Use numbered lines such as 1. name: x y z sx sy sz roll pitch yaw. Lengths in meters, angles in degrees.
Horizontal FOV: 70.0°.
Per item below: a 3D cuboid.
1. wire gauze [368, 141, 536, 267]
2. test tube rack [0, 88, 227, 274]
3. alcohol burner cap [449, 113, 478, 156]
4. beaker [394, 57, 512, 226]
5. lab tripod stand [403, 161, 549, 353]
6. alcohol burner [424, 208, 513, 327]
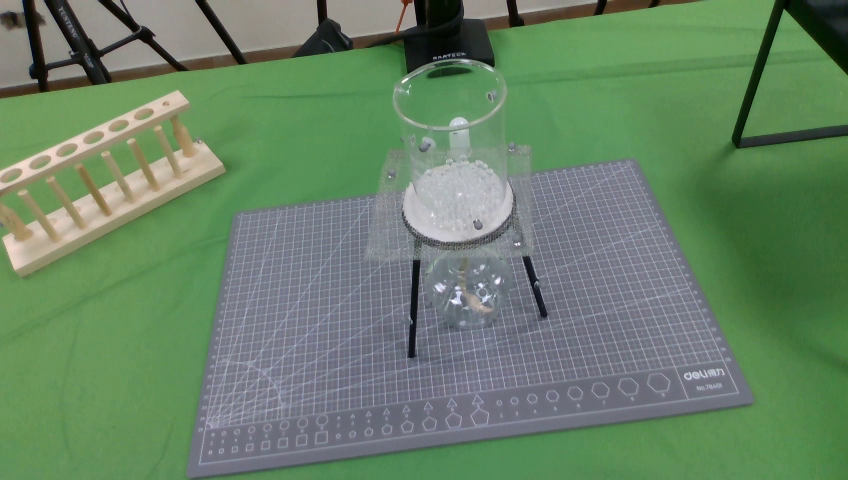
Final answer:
1. wire gauze: 0.023 -0.033 0.464 0.121 0.011 0.124 -1 53 9
2. test tube rack: -0.355 -0.070 0.674 0.242 0.086 0.066 -33 52 -20
3. alcohol burner cap: 0.045 -0.124 0.698 0.034 0.048 0.033 -4 49 5
4. beaker: 0.021 -0.066 0.428 0.083 0.101 0.074 23 58 26
5. lab tripod stand: 0.034 0.014 0.509 0.148 0.133 0.147 -4 50 5
6. alcohol burner: 0.037 0.020 0.518 0.078 0.120 0.077 -5 46 5
